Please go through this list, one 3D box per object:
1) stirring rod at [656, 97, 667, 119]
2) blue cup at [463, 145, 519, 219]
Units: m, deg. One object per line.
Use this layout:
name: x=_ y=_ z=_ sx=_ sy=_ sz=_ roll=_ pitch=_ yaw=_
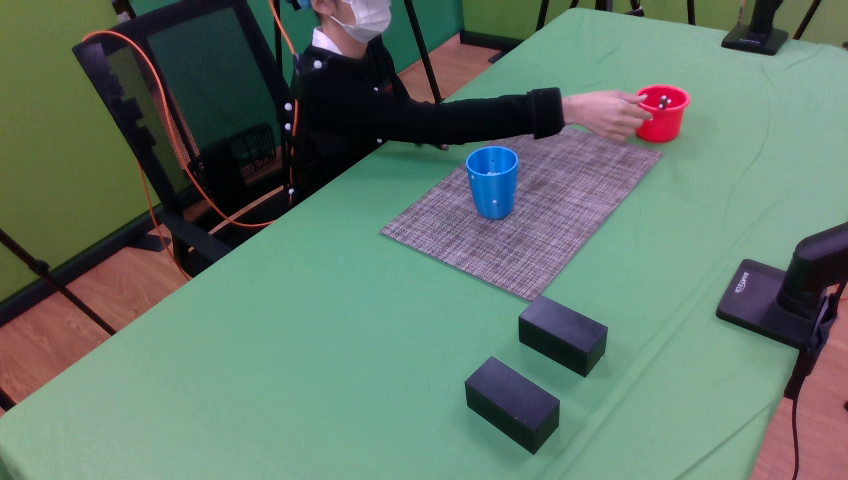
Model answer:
stirring rod: x=0.432 y=-0.238 z=1.102 sx=0.014 sy=0.006 sz=0.177 roll=3 pitch=1 yaw=20
blue cup: x=0.115 y=-0.090 z=0.997 sx=0.092 sy=0.101 sz=0.092 roll=-5 pitch=41 yaw=5
